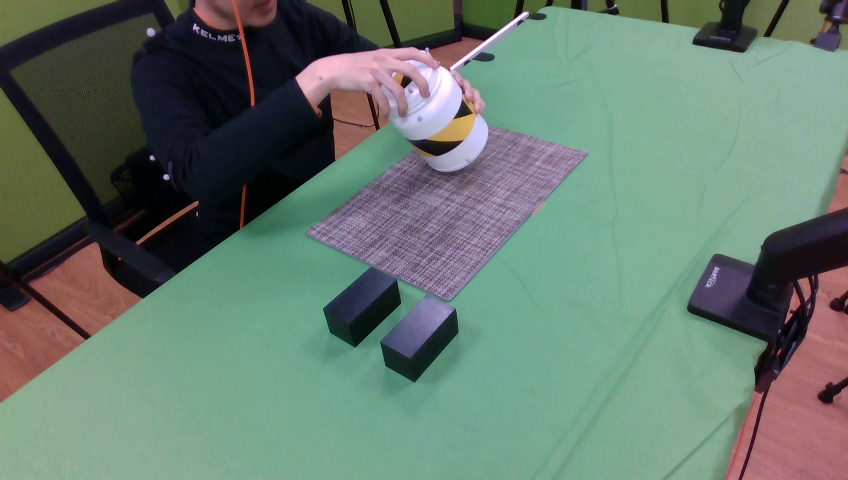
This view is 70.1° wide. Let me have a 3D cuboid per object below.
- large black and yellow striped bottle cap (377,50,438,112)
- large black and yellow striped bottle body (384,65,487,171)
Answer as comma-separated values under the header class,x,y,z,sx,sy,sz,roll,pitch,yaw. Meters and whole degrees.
class,x,y,z,sx,sy,sz,roll,pitch,yaw
large black and yellow striped bottle cap,-0.029,-0.263,0.997,0.114,0.019,0.114,-20,51,28
large black and yellow striped bottle body,0.016,-0.221,1.059,0.130,0.185,0.130,-18,52,26
